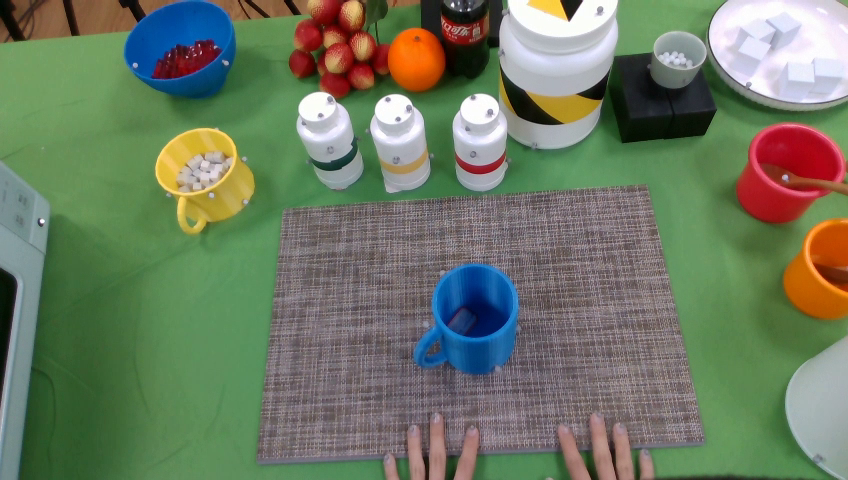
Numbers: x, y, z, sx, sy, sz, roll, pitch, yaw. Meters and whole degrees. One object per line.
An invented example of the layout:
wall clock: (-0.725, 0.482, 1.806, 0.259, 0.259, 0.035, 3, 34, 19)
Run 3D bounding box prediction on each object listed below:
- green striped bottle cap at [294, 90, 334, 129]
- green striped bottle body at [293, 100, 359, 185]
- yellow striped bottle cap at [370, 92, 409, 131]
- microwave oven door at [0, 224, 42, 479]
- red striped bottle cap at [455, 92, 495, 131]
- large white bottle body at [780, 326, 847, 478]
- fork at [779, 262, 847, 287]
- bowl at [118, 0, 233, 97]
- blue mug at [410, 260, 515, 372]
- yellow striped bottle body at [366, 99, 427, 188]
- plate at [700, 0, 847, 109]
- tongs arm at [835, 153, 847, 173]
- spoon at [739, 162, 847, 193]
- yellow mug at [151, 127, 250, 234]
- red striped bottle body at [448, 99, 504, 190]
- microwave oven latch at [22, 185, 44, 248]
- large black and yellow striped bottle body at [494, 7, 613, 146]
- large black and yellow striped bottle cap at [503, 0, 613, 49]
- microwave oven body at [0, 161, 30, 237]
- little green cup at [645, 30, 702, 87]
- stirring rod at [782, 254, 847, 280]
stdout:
green striped bottle cap: (-0.125, -0.148, 0.687, 0.044, 0.020, 0.044, -1, 61, 3)
green striped bottle body: (-0.119, -0.124, 0.733, 0.063, 0.120, 0.062, -2, 62, 4)
yellow striped bottle cap: (-0.039, -0.144, 0.677, 0.044, 0.019, 0.044, 0, 59, 1)
microwave oven door: (-0.458, 0.115, 0.551, 0.039, 0.246, 0.352, -12, 62, 0)
red striped bottle cap: (0.056, -0.142, 0.667, 0.044, 0.018, 0.044, 0, 61, 1)
large white bottle body: (0.408, 0.129, 0.516, 0.130, 0.186, 0.129, -2, 62, 4)
fork: (0.458, 0.023, 0.587, 0.206, 0.019, 0.028, -16, 47, 49)
bowl: (-0.331, -0.254, 0.844, 0.151, 0.077, 0.150, -2, 62, 4)
blue mug: (0.036, 0.088, 0.613, 0.116, 0.107, 0.081, -32, 63, -11)
yellow striped bottle body: (-0.033, -0.120, 0.723, 0.063, 0.121, 0.062, -2, 61, 5)
plate: (0.466, -0.250, 0.792, 0.209, 0.038, 0.207, -2, 63, 4)
tongs arm: (0.624, 0.019, 0.638, 0.051, 0.027, 0.381, -36, 66, -17)
spoon: (0.411, -0.060, 0.638, 0.041, 0.192, 0.022, -20, 107, -9)
yellow mug: (-0.279, -0.069, 0.750, 0.100, 0.064, 0.130, 5, 64, 8)
red striped bottle body: (0.062, -0.117, 0.713, 0.063, 0.121, 0.062, -3, 61, 7)
microwave oven latch: (-0.488, -0.027, 0.743, 0.030, 0.030, 0.078, -11, 63, -1)
large black and yellow striped bottle body: (0.149, -0.214, 0.719, 0.131, 0.185, 0.129, -2, 62, 5)
large black and yellow striped bottle cap: (0.141, -0.253, 0.643, 0.115, 0.019, 0.114, -3, 64, 7)
microwave oven body: (-0.609, 0.111, 0.573, 0.326, 0.262, 0.437, -12, 63, -1)
little green cup: (0.298, -0.217, 0.732, 0.061, 0.039, 0.061, -1, 60, 2)
stirring rod: (0.429, 0.039, 0.588, 0.014, 0.006, 0.174, -28, 21, -14)
